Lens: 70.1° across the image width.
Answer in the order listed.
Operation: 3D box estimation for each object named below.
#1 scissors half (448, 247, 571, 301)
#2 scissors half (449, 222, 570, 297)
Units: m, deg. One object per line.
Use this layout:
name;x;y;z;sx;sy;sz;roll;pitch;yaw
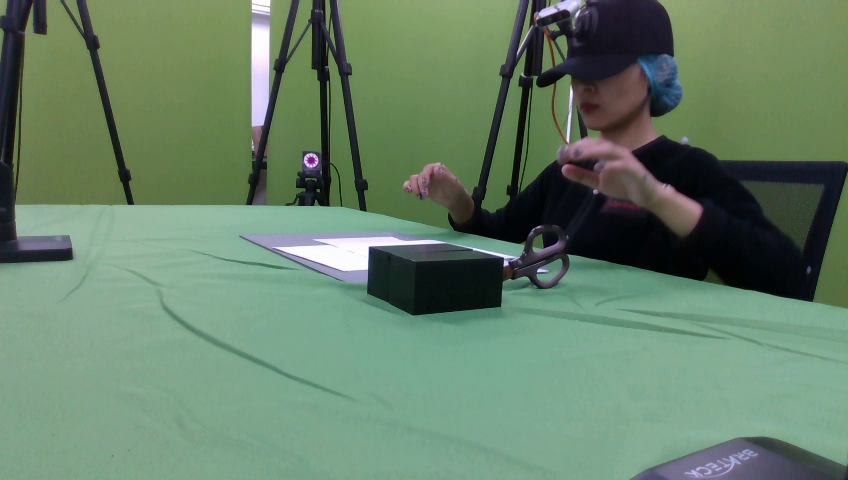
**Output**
scissors half;0.099;0.041;0.671;0.176;0.040;0.012;-14;19;-30
scissors half;0.095;0.023;0.665;0.176;0.040;0.013;-28;20;-27
